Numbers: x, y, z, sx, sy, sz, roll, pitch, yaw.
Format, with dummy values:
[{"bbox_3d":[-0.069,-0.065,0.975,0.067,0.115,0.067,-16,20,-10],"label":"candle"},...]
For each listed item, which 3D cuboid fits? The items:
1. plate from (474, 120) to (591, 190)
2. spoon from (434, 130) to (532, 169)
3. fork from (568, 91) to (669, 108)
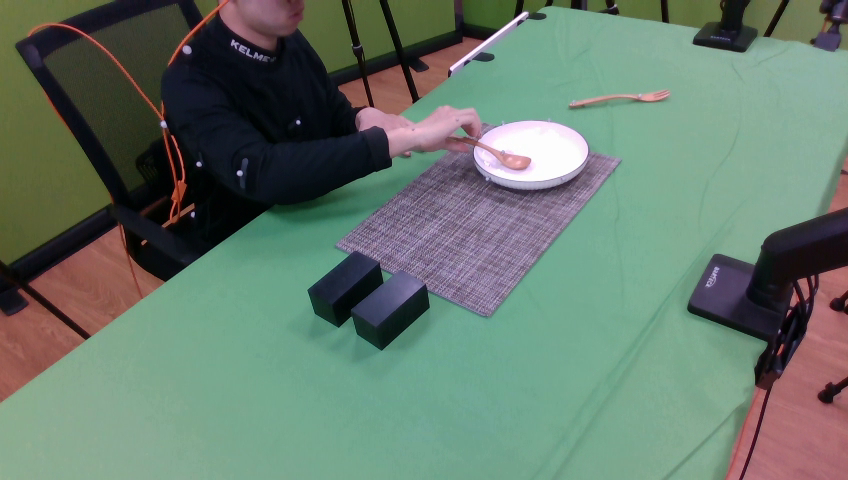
[{"bbox_3d":[0.196,-0.151,1.099,0.207,0.039,0.206,-4,40,4],"label":"plate"},{"bbox_3d":[0.107,-0.171,1.112,0.193,0.022,0.041,25,52,15],"label":"spoon"},{"bbox_3d":[0.402,-0.290,1.252,0.207,0.019,0.028,-4,47,1],"label":"fork"}]
